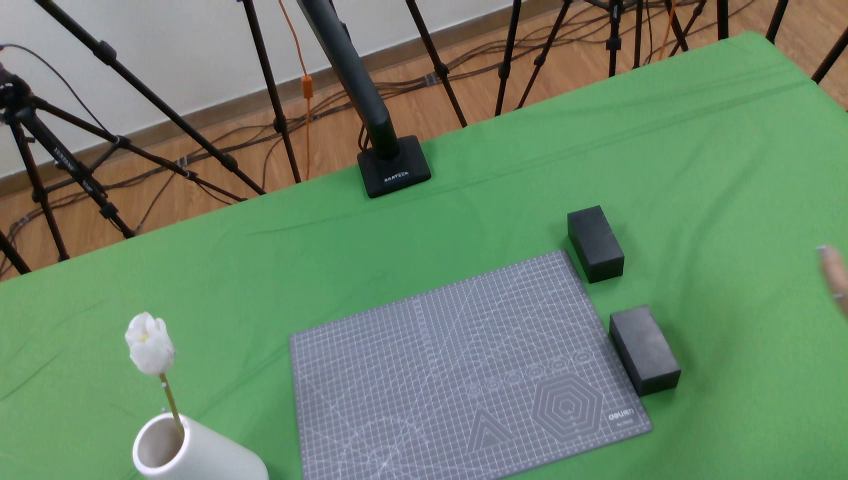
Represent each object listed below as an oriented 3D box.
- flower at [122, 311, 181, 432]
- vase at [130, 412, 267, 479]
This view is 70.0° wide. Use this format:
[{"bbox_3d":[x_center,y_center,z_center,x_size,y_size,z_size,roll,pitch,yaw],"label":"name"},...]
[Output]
[{"bbox_3d":[-0.269,0.217,0.674,0.038,0.365,0.043,-21,44,-25],"label":"flower"},{"bbox_3d":[-0.266,0.277,0.733,0.098,0.202,0.097,-6,52,8],"label":"vase"}]
